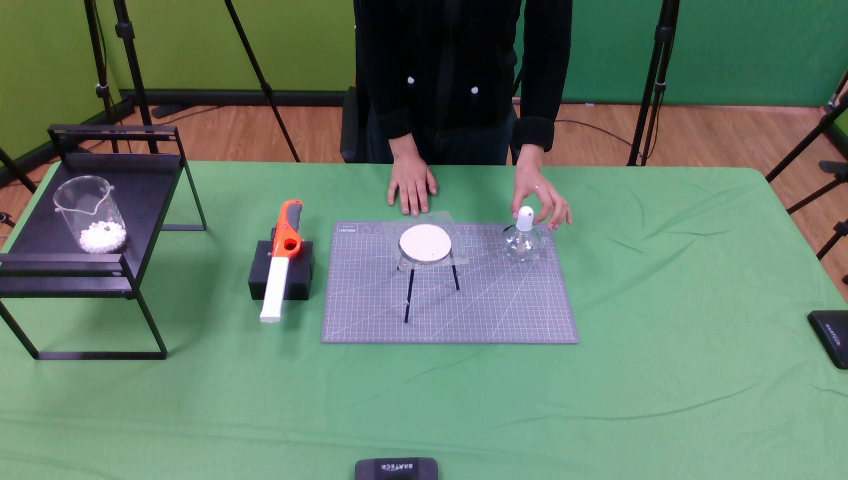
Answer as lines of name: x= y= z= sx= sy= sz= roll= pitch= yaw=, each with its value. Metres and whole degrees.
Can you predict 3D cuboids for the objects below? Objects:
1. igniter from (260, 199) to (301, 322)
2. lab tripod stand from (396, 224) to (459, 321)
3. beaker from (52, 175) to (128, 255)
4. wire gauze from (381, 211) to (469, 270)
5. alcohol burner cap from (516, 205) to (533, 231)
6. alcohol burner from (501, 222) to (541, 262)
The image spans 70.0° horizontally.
igniter: x=-0.255 y=0.027 z=1.084 sx=0.057 sy=0.025 sz=0.274 roll=3 pitch=49 yaw=-5
lab tripod stand: x=-0.004 y=0.052 z=1.067 sx=0.148 sy=0.132 sz=0.147 roll=3 pitch=47 yaw=-3
beaker: x=-0.482 y=-0.032 z=0.888 sx=0.074 sy=0.101 sz=0.083 roll=-28 pitch=55 yaw=-27
wire gauze: x=0.000 y=0.001 z=1.023 sx=0.125 sy=0.011 sz=0.120 roll=-9 pitch=48 yaw=-13
alcohol burner cap: x=0.189 y=-0.044 z=1.131 sx=0.034 sy=0.048 sz=0.033 roll=0 pitch=45 yaw=0
alcohol burner: x=0.188 y=-0.015 z=1.160 sx=0.078 sy=0.120 sz=0.077 roll=1 pitch=45 yaw=-1
